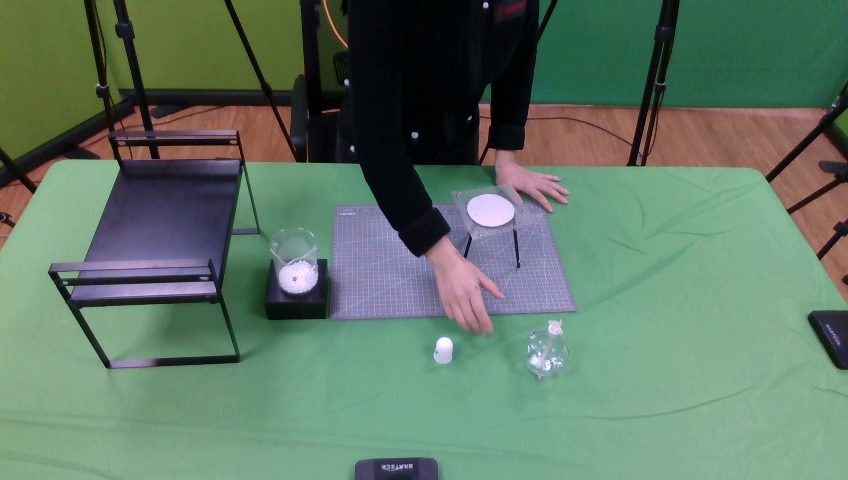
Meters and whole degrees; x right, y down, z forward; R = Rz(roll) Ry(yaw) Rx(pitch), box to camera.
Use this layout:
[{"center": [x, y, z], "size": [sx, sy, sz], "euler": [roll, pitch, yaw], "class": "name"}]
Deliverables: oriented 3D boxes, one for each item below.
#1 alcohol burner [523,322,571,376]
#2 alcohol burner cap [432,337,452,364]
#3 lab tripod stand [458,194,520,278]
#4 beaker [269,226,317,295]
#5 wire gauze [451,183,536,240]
[{"center": [0.204, 0.169, 0.986], "size": [0.078, 0.119, 0.077], "euler": [3, 47, -3], "class": "alcohol burner"}, {"center": [0.031, 0.182, 1.011], "size": [0.034, 0.048, 0.033], "euler": [4, 45, -4], "class": "alcohol burner cap"}, {"center": [0.116, -0.011, 1.136], "size": [0.148, 0.132, 0.147], "euler": [1, 45, -1], "class": "lab tripod stand"}, {"center": [-0.218, 0.040, 1.020], "size": [0.074, 0.101, 0.083], "euler": [6, 47, 2], "class": "beaker"}, {"center": [0.123, -0.057, 1.087], "size": [0.121, 0.011, 0.124], "euler": [-12, 47, -14], "class": "wire gauze"}]
